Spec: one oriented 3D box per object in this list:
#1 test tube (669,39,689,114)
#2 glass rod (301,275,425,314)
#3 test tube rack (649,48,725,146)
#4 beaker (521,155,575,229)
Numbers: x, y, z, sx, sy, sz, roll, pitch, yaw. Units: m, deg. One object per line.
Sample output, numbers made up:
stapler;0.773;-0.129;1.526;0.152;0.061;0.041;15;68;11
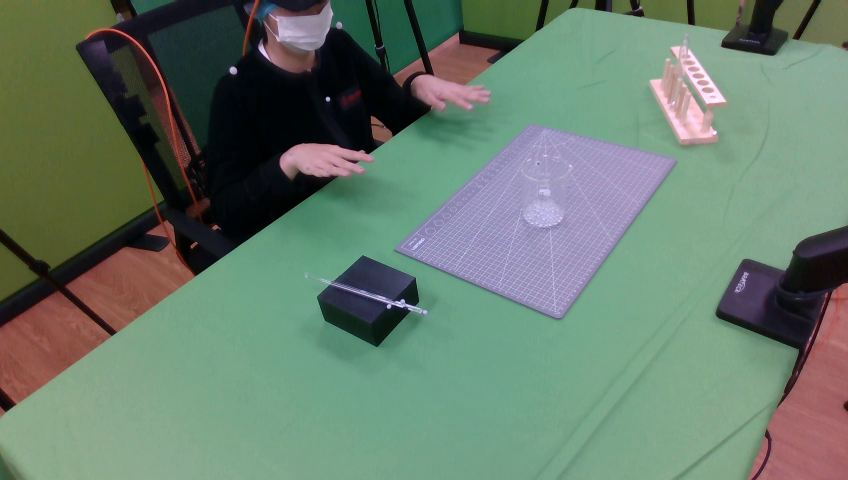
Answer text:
test tube;0.482;-0.308;1.146;0.017;0.151;0.017;-5;42;5
glass rod;-0.088;0.074;0.833;0.198;0.008;0.008;14;44;23
test tube rack;0.508;-0.285;1.186;0.067;0.085;0.241;-4;40;6
beaker;0.197;-0.075;0.969;0.084;0.101;0.073;-6;40;2
